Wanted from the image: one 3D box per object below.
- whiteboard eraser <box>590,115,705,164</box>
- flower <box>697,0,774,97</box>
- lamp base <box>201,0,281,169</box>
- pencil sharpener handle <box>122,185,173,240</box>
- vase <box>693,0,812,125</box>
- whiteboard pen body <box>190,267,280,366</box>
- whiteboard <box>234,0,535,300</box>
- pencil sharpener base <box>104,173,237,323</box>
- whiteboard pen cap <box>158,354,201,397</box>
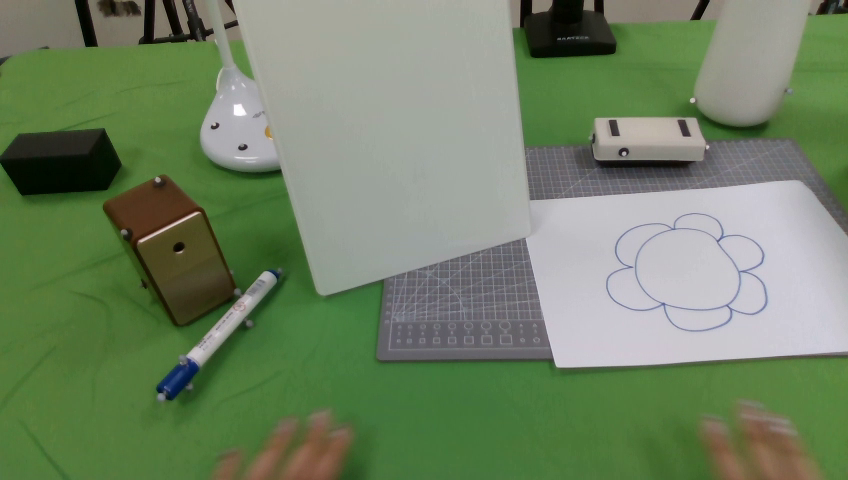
[{"bbox_3d":[0.241,-0.108,0.660,0.112,0.042,0.055,0,42,6],"label":"whiteboard eraser"},{"bbox_3d":[0.372,-0.277,0.597,0.044,0.364,0.038,-19,63,-24],"label":"flower"},{"bbox_3d":[-0.203,-0.199,0.692,0.177,0.182,0.160,30,53,33],"label":"lamp base"},{"bbox_3d":[-0.253,-0.028,0.553,0.036,0.068,0.030,-39,52,-21],"label":"pencil sharpener handle"},{"bbox_3d":[0.367,-0.228,0.665,0.098,0.202,0.097,-2,44,2],"label":"vase"},{"bbox_3d":[-0.168,0.071,0.521,0.017,0.017,0.140,14,43,19],"label":"whiteboard pen body"},{"bbox_3d":[-0.037,-0.136,0.565,0.217,0.308,0.142,-16,25,-10],"label":"whiteboard"},{"bbox_3d":[-0.220,0.007,0.532,0.061,0.108,0.076,-34,50,-27],"label":"pencil sharpener base"},{"bbox_3d":[-0.192,0.106,0.478,0.018,0.018,0.033,16,44,21],"label":"whiteboard pen cap"}]
